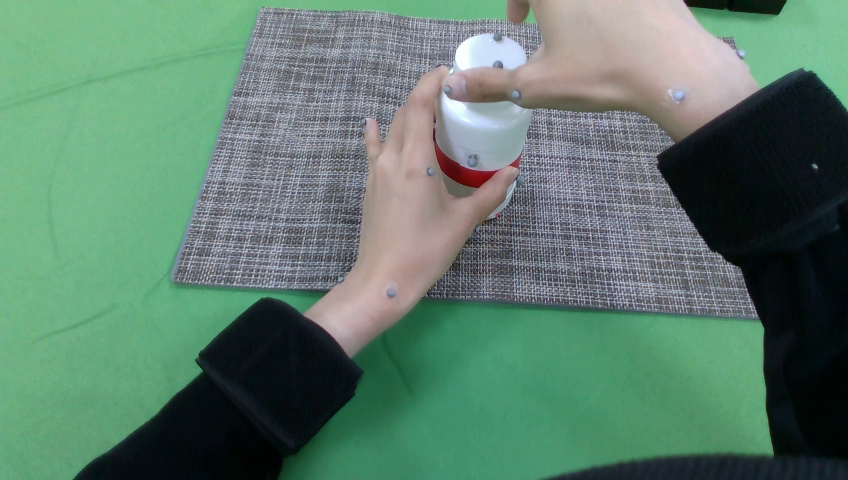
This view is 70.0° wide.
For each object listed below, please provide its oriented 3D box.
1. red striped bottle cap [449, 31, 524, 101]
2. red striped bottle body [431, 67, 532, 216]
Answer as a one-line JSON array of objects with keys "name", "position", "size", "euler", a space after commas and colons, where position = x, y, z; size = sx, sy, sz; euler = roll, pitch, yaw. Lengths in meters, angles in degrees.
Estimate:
[{"name": "red striped bottle cap", "position": [0.038, -0.106, 0.365], "size": [0.044, 0.018, 0.044], "euler": [2, 58, -3]}, {"name": "red striped bottle body", "position": [0.037, -0.075, 0.412], "size": [0.063, 0.120, 0.062], "euler": [1, 57, -1]}]
